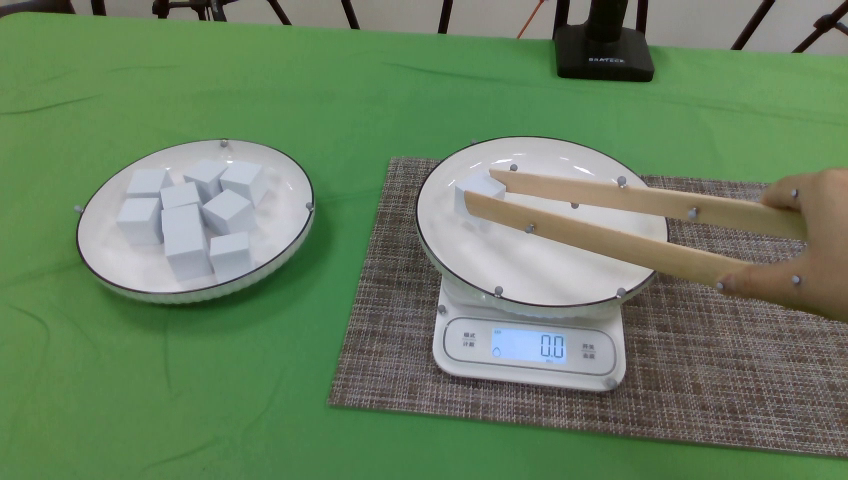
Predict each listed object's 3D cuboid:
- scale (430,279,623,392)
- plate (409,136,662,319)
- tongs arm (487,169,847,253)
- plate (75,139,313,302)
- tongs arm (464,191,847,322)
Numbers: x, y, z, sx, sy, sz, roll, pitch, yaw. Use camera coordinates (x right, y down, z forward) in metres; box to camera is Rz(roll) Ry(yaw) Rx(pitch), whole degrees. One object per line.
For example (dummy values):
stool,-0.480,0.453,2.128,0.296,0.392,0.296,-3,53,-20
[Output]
scale,0.089,0.031,0.519,0.148,0.032,0.199,5,46,5
plate,0.091,-0.012,0.515,0.208,0.039,0.205,1,46,-1
tongs arm,0.193,-0.004,0.386,0.382,0.027,0.050,13,46,37
plate,-0.207,-0.019,0.565,0.209,0.038,0.207,1,45,0
tongs arm,0.177,0.011,0.374,0.384,0.028,0.028,17,45,40
